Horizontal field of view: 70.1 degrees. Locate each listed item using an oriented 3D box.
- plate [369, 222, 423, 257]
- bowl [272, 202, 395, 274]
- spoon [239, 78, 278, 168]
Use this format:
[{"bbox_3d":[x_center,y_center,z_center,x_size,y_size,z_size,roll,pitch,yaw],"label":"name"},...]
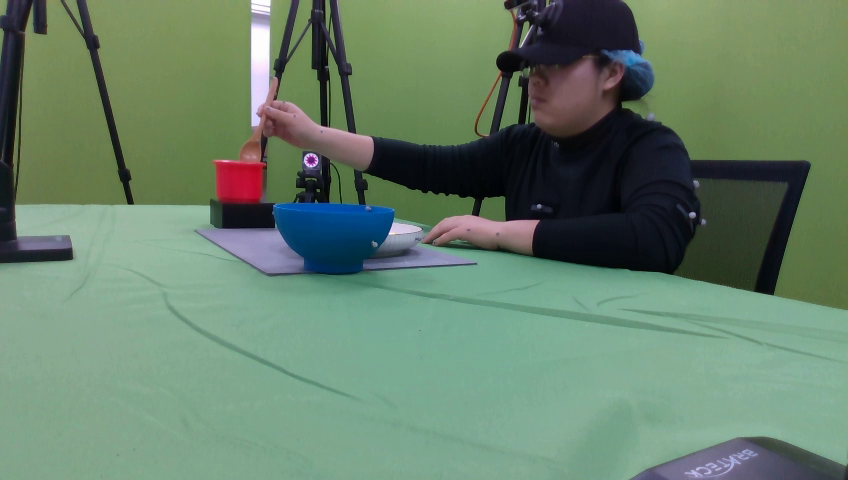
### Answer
[{"bbox_3d":[-0.105,-0.004,0.922,0.208,0.039,0.207,3,7,0],"label":"plate"},{"bbox_3d":[-0.112,-0.003,0.751,0.151,0.077,0.151,3,7,0],"label":"bowl"},{"bbox_3d":[-0.315,-0.229,1.177,0.042,0.193,0.021,21,-11,-22],"label":"spoon"}]
